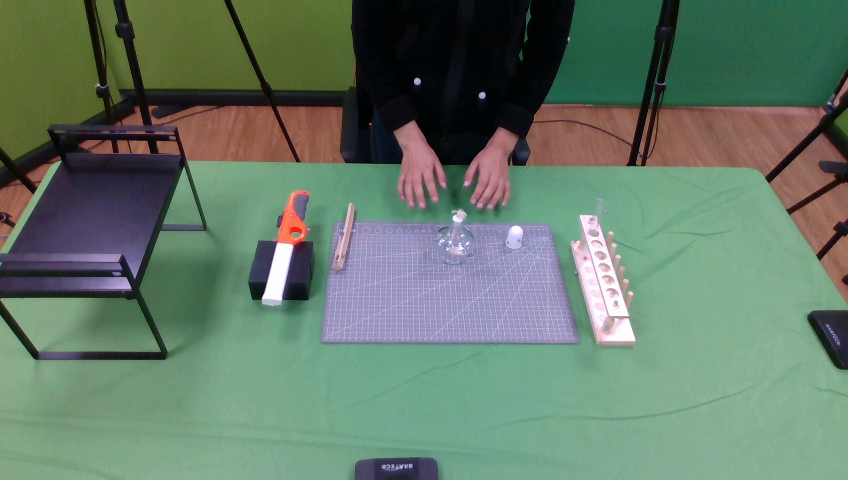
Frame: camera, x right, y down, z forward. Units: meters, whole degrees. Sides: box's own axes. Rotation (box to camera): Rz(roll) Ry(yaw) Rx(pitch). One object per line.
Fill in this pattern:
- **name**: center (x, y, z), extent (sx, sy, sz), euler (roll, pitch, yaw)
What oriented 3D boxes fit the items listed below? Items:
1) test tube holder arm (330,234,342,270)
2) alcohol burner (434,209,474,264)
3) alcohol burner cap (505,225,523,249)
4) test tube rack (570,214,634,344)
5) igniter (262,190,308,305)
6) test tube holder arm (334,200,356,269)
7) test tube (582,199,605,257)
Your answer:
- **test tube holder arm**: center (-0.164, 0.021, 1.163), extent (0.010, 0.015, 0.087), euler (-15, 43, 23)
- **alcohol burner**: center (0.058, -0.012, 1.147), extent (0.078, 0.119, 0.077), euler (3, 45, -3)
- **alcohol burner cap**: center (0.180, -0.009, 1.203), extent (0.034, 0.048, 0.033), euler (2, 46, -2)
- **test tube rack**: center (0.333, 0.067, 1.116), extent (0.067, 0.085, 0.241), euler (1, 46, -4)
- **igniter**: center (-0.252, 0.004, 1.107), extent (0.057, 0.025, 0.275), euler (7, 47, -6)
- **test tube holder arm**: center (-0.154, -0.013, 1.191), extent (0.013, 0.015, 0.177), euler (-15, 43, 23)
- **test tube**: center (0.314, -0.019, 1.129), extent (0.017, 0.151, 0.017), euler (0, 48, 1)
